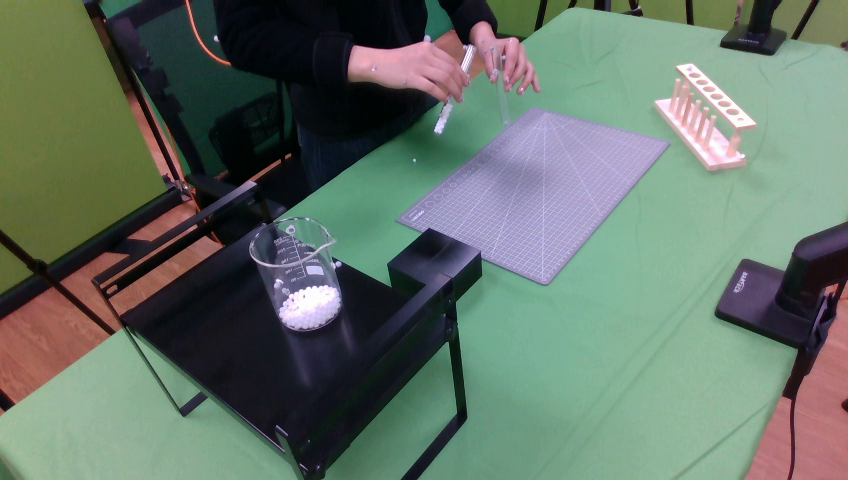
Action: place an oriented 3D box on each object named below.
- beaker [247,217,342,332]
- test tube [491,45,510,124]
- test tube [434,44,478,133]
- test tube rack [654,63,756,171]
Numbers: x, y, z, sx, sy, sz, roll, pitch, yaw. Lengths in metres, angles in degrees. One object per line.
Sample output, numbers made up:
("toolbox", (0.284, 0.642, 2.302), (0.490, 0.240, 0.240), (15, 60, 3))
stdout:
("beaker", (-0.124, 0.037, 0.614), (0.084, 0.101, 0.073), (-7, 41, 0))
("test tube", (0.132, -0.263, 1.036), (0.017, 0.151, 0.017), (-9, 45, 9))
("test tube", (0.050, -0.241, 0.964), (0.017, 0.150, 0.017), (23, 7, -2))
("test tube rack", (0.510, -0.233, 1.120), (0.067, 0.085, 0.241), (-8, 41, -1))
